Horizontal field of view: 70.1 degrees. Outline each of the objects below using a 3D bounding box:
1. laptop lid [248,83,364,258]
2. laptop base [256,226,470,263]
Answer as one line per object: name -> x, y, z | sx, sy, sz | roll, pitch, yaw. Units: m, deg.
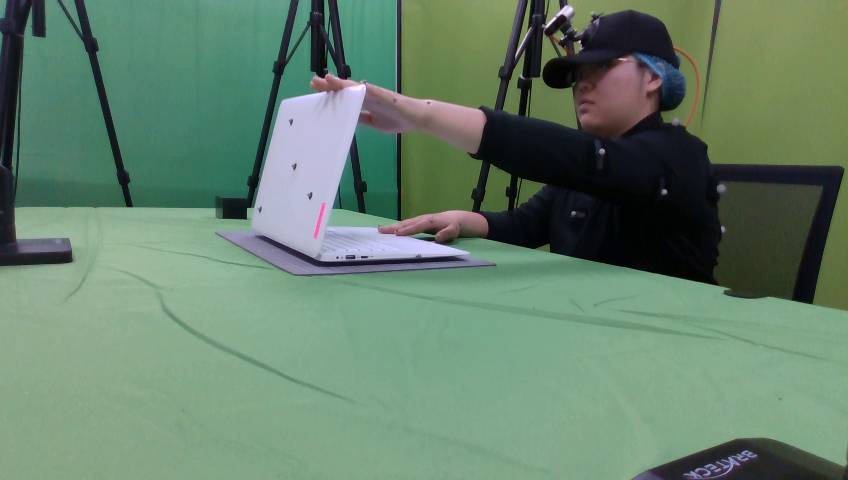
laptop lid -> -0.192, -0.110, 0.909 | 0.013, 0.241, 0.355 | 15, 1, -31
laptop base -> -0.117, 0.005, 0.970 | 0.237, 0.023, 0.352 | 2, 6, -30
